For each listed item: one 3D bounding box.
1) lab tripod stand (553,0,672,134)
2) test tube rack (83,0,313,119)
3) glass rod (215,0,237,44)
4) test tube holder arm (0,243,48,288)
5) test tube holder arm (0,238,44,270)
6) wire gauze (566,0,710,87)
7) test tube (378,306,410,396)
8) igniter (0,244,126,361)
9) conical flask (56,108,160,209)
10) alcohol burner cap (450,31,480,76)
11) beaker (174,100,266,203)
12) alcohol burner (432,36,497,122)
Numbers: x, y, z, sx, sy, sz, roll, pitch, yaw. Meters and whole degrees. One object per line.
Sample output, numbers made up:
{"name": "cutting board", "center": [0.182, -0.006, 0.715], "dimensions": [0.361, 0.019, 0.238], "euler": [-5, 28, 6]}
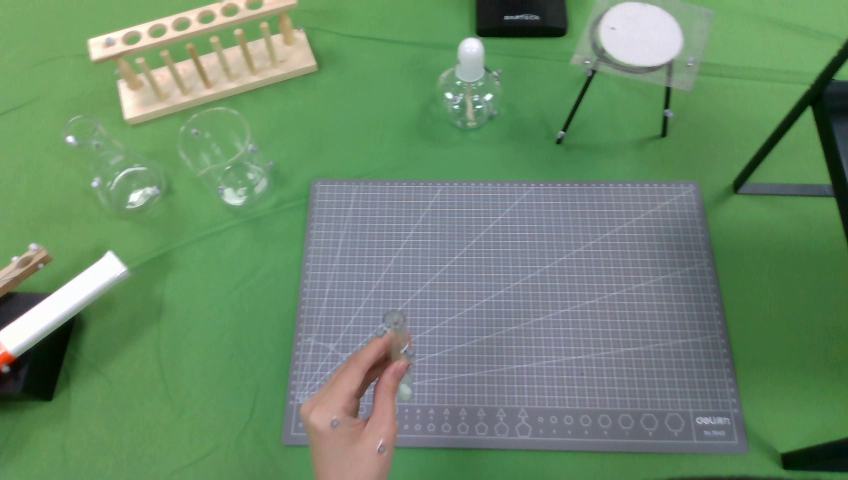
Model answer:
{"name": "lab tripod stand", "center": [0.217, -0.189, 0.685], "dimensions": [0.148, 0.132, 0.147], "euler": [0, 65, 0]}
{"name": "test tube rack", "center": [-0.267, -0.232, 0.738], "dimensions": [0.242, 0.086, 0.066], "euler": [-19, 67, -7]}
{"name": "glass rod", "center": [-0.245, -0.292, 0.691], "dimensions": [0.008, 0.201, 0.008], "euler": [-3, 60, 6]}
{"name": "test tube holder arm", "center": [-0.420, 0.036, 0.606], "dimensions": [0.088, 0.015, 0.010], "euler": [-40, 71, -16]}
{"name": "test tube holder arm", "center": [-0.457, 0.061, 0.595], "dimensions": [0.178, 0.015, 0.013], "euler": [-42, 72, -17]}
{"name": "wire gauze", "center": [0.223, -0.219, 0.624], "dimensions": [0.121, 0.011, 0.124], "euler": [21, 69, 8]}
{"name": "test tube", "center": [-0.021, 0.090, 0.465], "dimensions": [0.017, 0.151, 0.017], "euler": [-1, 57, 1]}
{"name": "igniter", "center": [-0.412, 0.102, 0.573], "dimensions": [0.276, 0.025, 0.057], "euler": [-41, 73, -19]}
{"name": "conical flask", "center": [-0.346, -0.092, 0.657], "dimensions": [0.075, 0.123, 0.075], "euler": [0, 65, 1]}
{"name": "alcohol burner cap", "center": [0.046, -0.208, 0.667], "dimensions": [0.034, 0.048, 0.033], "euler": [0, 65, 0]}
{"name": "beaker", "center": [-0.220, -0.090, 0.667], "dimensions": [0.074, 0.101, 0.083], "euler": [15, 67, 8]}
{"name": "alcohol burner", "center": [0.048, -0.192, 0.700], "dimensions": [0.078, 0.120, 0.077], "euler": [0, 64, 0]}
